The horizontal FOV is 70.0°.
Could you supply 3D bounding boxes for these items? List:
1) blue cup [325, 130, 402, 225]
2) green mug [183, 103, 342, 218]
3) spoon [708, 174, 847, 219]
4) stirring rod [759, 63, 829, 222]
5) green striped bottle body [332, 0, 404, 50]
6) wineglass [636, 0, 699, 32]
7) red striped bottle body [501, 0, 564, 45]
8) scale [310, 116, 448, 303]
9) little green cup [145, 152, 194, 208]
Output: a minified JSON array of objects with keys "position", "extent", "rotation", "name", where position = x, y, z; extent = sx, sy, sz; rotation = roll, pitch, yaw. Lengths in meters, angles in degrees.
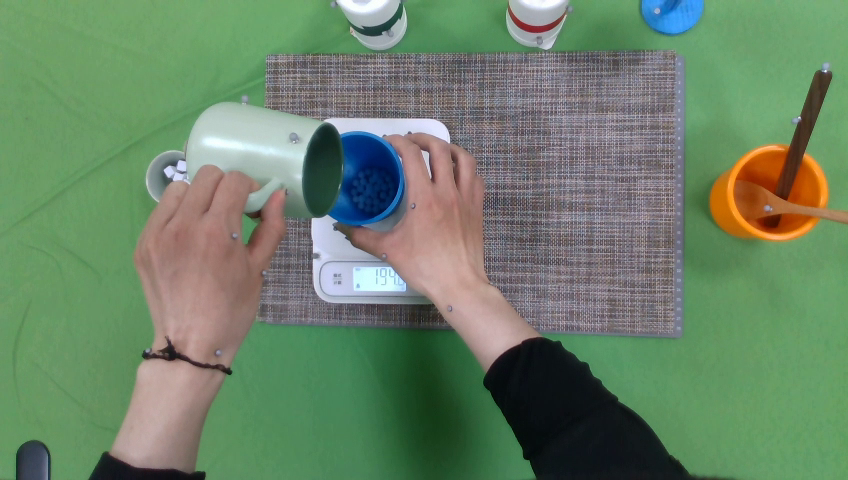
[{"position":[-0.059,-0.055,0.588],"extent":[0.092,0.100,0.092],"rotation":[0,90,3],"name":"blue cup"},{"position":[-0.137,-0.055,0.490],"extent":[0.104,0.124,0.093],"rotation":[9,123,14],"name":"green mug"},{"position":[0.359,-0.030,0.560],"extent":[0.022,0.192,0.041],"rotation":[10,97,-37],"name":"spoon"},{"position":[0.341,-0.083,0.564],"extent":[0.014,0.178,0.006],"rotation":[10,48,20],"name":"stirring rod"},{"position":[-0.059,-0.246,0.621],"extent":[0.063,0.119,0.063],"rotation":[0,87,6],"name":"green striped bottle body"},{"position":[0.252,-0.261,0.567],"extent":[0.073,0.172,0.073],"rotation":[0,87,6],"name":"wineglass"},{"position":[0.111,-0.247,0.606],"extent":[0.063,0.120,0.063],"rotation":[0,87,5],"name":"red striped bottle body"},{"position":[-0.048,-0.033,0.651],"extent":[0.148,0.031,0.200],"rotation":[0,88,5],"name":"scale"},{"position":[-0.270,-0.064,0.673],"extent":[0.061,0.038,0.061],"rotation":[0,88,4],"name":"little green cup"}]
